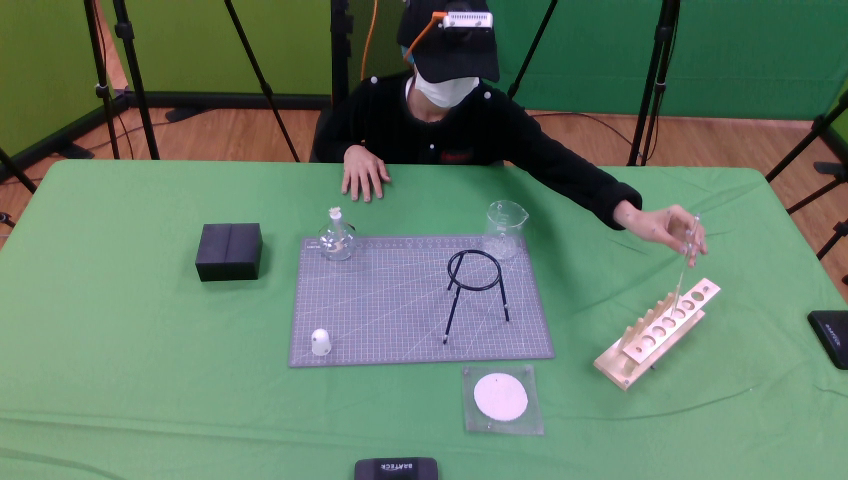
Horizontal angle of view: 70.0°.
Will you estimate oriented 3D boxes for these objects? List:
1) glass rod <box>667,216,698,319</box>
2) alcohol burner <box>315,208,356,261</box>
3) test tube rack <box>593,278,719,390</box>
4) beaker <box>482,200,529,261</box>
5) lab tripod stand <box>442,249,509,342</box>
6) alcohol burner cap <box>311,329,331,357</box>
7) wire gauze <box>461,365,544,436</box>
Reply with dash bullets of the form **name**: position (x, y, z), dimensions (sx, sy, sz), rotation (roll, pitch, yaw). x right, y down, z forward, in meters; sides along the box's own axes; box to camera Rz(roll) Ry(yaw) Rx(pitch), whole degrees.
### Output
- **glass rod**: position (0.400, 0.048, 0.941), dimensions (0.008, 0.200, 0.008), rotation (-1, 35, 1)
- **alcohol burner**: position (-0.166, -0.017, 1.134), dimensions (0.078, 0.120, 0.077), rotation (2, 48, -2)
- **test tube rack**: position (0.401, 0.148, 1.043), dimensions (0.242, 0.085, 0.066), rotation (-30, 55, -29)
- **beaker**: position (0.153, -0.015, 1.169), dimensions (0.084, 0.101, 0.073), rotation (-2, 46, -7)
- **lab tripod stand**: position (0.082, 0.091, 1.036), dimensions (0.148, 0.132, 0.147), rotation (3, 44, -3)
- **alcohol burner cap**: position (-0.173, 0.168, 1.004), dimensions (0.034, 0.048, 0.033), rotation (2, 46, -2)
- **wire gauze**: position (0.124, 0.254, 0.973), dimensions (0.125, 0.011, 0.120), rotation (3, 47, -3)
